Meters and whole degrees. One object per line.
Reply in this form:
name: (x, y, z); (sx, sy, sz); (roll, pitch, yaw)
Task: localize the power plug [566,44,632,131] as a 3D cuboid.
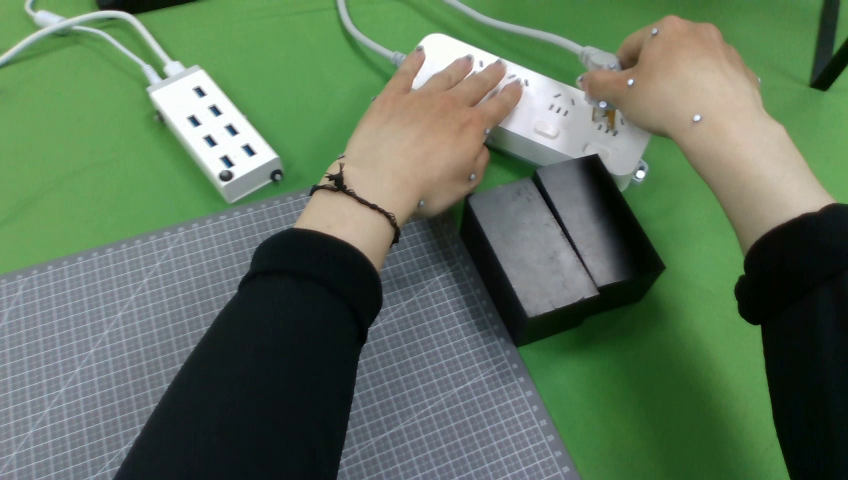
power plug: (0.137, -0.121, 0.479); (0.035, 0.053, 0.072); (-5, 36, -5)

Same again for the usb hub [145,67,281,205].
usb hub: (-0.169, -0.085, 0.481); (0.049, 0.025, 0.124); (-35, 66, -21)

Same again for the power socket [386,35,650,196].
power socket: (0.078, -0.106, 0.502); (0.226, 0.033, 0.072); (26, 60, 12)
